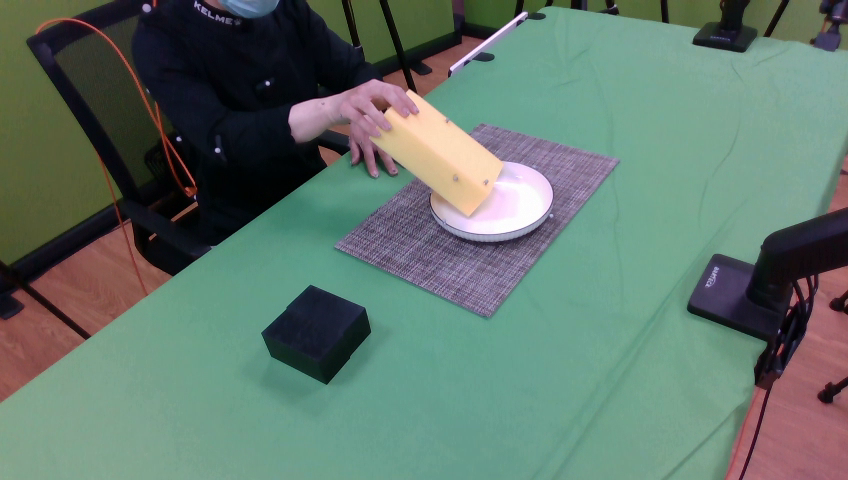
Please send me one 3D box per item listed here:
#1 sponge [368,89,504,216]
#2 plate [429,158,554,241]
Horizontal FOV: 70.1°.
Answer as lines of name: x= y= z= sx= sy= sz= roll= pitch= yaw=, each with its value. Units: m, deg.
sponge: x=0.024 y=-0.146 z=0.998 sx=0.207 sy=0.061 sz=0.118 roll=37 pitch=38 yaw=-7
plate: x=0.112 y=-0.065 z=1.011 sx=0.207 sy=0.039 sz=0.206 roll=-4 pitch=41 yaw=4
